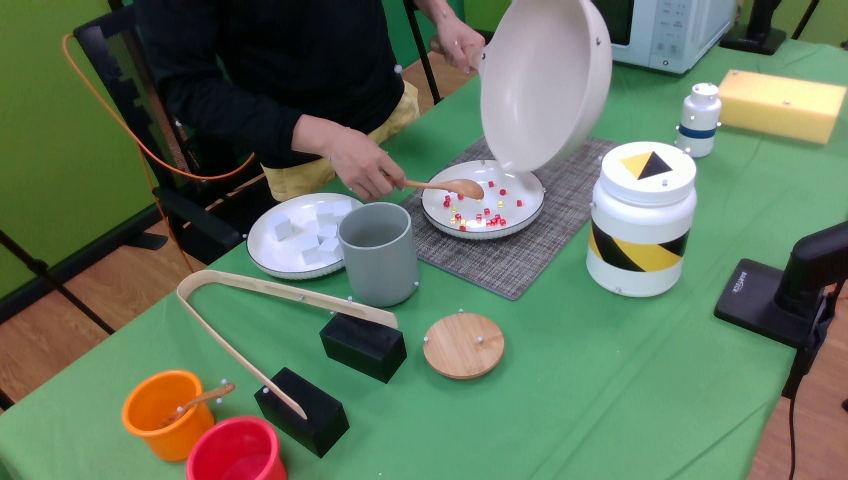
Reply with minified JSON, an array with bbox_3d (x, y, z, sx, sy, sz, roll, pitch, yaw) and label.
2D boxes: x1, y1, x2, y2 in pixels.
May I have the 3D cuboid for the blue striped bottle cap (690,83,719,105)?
[{"bbox_3d":[0.481,-0.251,1.038,0.044,0.021,0.044,-5,39,4],"label":"blue striped bottle cap"}]

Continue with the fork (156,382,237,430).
[{"bbox_3d":[-0.262,0.189,0.690,0.018,0.206,0.028,49,43,-7],"label":"fork"}]

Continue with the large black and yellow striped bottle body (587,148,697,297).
[{"bbox_3d":[0.298,-0.026,0.834,0.131,0.185,0.130,-4,41,4],"label":"large black and yellow striped bottle body"}]

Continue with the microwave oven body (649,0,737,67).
[{"bbox_3d":[0.475,-0.602,1.411,0.438,0.261,0.327,23,50,32],"label":"microwave oven body"}]

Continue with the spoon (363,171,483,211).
[{"bbox_3d":[0.000,-0.082,0.943,0.195,0.021,0.041,15,66,-16],"label":"spoon"}]

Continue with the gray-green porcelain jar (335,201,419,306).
[{"bbox_3d":[-0.064,0.024,0.872,0.106,0.127,0.105,-4,41,4],"label":"gray-green porcelain jar"}]

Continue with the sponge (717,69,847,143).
[{"bbox_3d":[0.663,-0.256,1.142,0.205,0.061,0.118,19,47,28],"label":"sponge"}]

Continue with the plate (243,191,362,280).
[{"bbox_3d":[-0.188,-0.005,0.992,0.207,0.039,0.206,-4,40,4],"label":"plate"}]

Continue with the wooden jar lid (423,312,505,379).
[{"bbox_3d":[0.053,0.142,0.800,0.108,0.021,0.108,-5,39,4],"label":"wooden jar lid"}]

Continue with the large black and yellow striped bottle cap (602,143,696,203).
[{"bbox_3d":[0.289,-0.088,0.778,0.115,0.019,0.114,-5,39,4],"label":"large black and yellow striped bottle cap"}]

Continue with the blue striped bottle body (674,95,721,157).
[{"bbox_3d":[0.486,-0.213,1.072,0.063,0.121,0.063,-4,41,4],"label":"blue striped bottle body"}]

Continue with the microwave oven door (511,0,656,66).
[{"bbox_3d":[0.351,-0.539,1.349,0.353,0.245,0.039,24,50,31],"label":"microwave oven door"}]

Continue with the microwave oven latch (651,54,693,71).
[{"bbox_3d":[0.532,-0.386,1.301,0.078,0.029,0.030,26,52,34],"label":"microwave oven latch"}]

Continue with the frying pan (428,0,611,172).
[{"bbox_3d":[0.136,-0.299,1.032,0.103,0.307,0.483,-2,29,-34],"label":"frying pan"}]

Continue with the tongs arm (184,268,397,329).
[{"bbox_3d":[-0.202,0.084,0.848,0.382,0.027,0.051,11,45,35],"label":"tongs arm"}]

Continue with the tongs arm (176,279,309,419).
[{"bbox_3d":[-0.254,0.133,0.801,0.028,0.028,0.384,-41,40,-23],"label":"tongs arm"}]

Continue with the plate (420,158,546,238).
[{"bbox_3d":[0.099,-0.067,1.017,0.209,0.038,0.208,-4,40,4],"label":"plate"}]
